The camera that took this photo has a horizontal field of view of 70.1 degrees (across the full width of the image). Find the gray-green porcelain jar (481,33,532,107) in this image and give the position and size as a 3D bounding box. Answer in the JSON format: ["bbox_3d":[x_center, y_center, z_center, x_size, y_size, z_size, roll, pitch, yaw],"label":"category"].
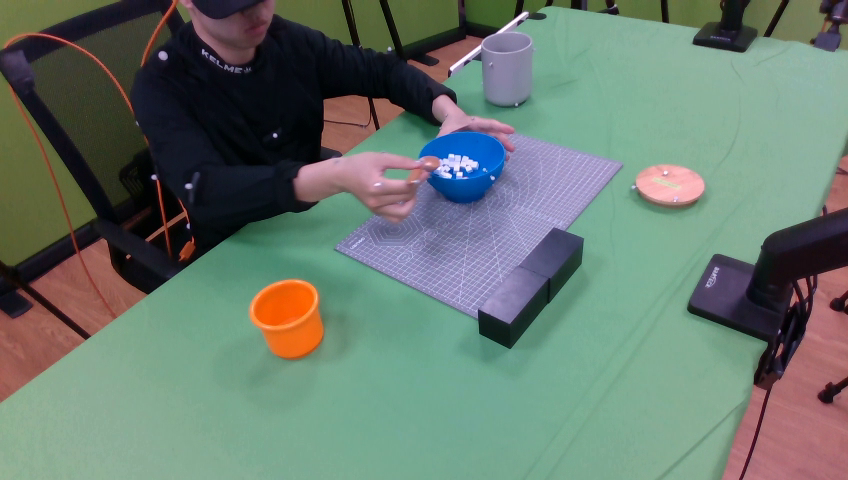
[{"bbox_3d":[0.175,-0.355,1.278,0.106,0.127,0.105,-4,41,4],"label":"gray-green porcelain jar"}]

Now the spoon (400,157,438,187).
[{"bbox_3d":[-0.012,-0.102,0.888,0.041,0.021,0.194,4,14,10],"label":"spoon"}]

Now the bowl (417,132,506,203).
[{"bbox_3d":[0.067,-0.116,1.048,0.151,0.077,0.150,-4,40,4],"label":"bowl"}]

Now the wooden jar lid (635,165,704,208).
[{"bbox_3d":[0.410,-0.089,1.014,0.108,0.021,0.108,-5,42,5],"label":"wooden jar lid"}]
